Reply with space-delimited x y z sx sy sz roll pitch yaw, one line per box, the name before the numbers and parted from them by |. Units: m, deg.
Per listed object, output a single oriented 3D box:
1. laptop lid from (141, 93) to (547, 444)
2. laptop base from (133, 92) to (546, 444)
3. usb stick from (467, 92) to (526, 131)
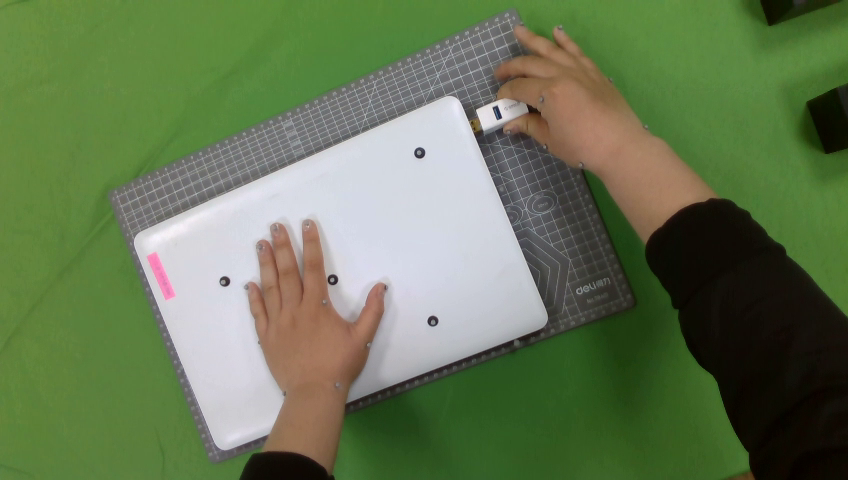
laptop lid | -0.088 0.035 0.581 0.356 0.013 0.241 -21 92 8
laptop base | -0.087 0.033 0.590 0.354 0.023 0.235 -23 93 7
usb stick | 0.062 -0.115 0.555 0.059 0.027 0.021 -15 87 7
